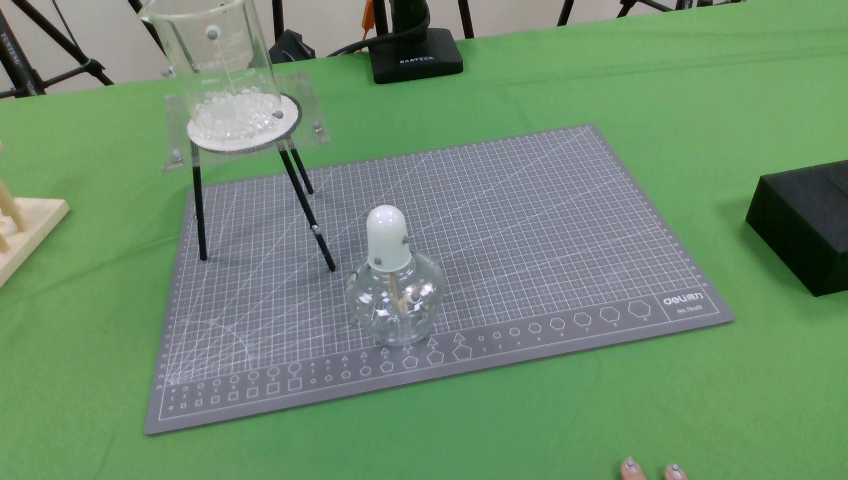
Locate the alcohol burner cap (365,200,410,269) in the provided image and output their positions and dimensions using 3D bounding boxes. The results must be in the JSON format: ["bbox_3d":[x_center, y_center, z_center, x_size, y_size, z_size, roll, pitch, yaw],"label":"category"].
[{"bbox_3d":[-0.027,-0.006,0.429,0.034,0.048,0.033,-1,40,1],"label":"alcohol burner cap"}]

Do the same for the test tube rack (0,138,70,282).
[{"bbox_3d":[-0.425,0.012,0.526,0.066,0.086,0.240,4,44,9],"label":"test tube rack"}]

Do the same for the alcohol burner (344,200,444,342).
[{"bbox_3d":[-0.024,0.020,0.454,0.078,0.120,0.077,-3,41,3],"label":"alcohol burner"}]

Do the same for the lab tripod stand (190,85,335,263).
[{"bbox_3d":[-0.142,-0.054,0.529,0.148,0.133,0.147,-3,45,3],"label":"lab tripod stand"}]

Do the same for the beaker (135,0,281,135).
[{"bbox_3d":[-0.154,-0.136,0.450,0.084,0.101,0.073,-14,43,-8],"label":"beaker"}]

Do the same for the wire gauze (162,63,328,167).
[{"bbox_3d":[-0.146,-0.101,0.484,0.125,0.011,0.120,-16,42,-7],"label":"wire gauze"}]
